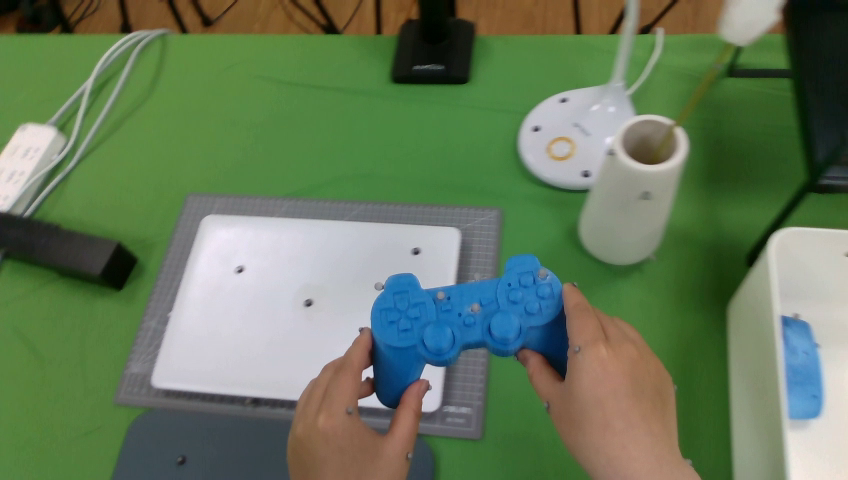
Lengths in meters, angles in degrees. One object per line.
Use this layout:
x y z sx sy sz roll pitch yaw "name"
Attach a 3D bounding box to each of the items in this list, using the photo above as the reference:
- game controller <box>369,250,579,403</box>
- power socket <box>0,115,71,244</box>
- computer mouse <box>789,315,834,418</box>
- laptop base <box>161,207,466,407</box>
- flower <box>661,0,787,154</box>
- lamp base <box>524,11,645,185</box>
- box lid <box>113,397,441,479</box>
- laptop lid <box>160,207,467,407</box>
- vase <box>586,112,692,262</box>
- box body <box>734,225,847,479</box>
0.033 0.061 0.450 0.155 0.052 0.096 -8 67 0 "game controller"
-0.602 -0.092 0.890 0.072 0.033 0.225 12 65 11 "power socket"
0.395 0.131 0.648 0.062 0.041 0.116 4 56 13 "computer mouse"
-0.132 0.074 0.758 0.354 0.023 0.234 4 67 9 "laptop base"
0.245 -0.099 0.605 0.038 0.364 0.043 -1 52 -12 "flower"
0.216 -0.187 0.758 0.159 0.182 0.179 37 70 22 "lamp base"
-0.177 0.314 0.648 0.371 0.015 0.261 4 64 9 "box lid"
-0.134 0.071 0.746 0.356 0.013 0.240 5 66 10 "laptop lid"
0.238 -0.055 0.677 0.098 0.202 0.097 -4 61 7 "vase"
0.438 0.190 0.549 0.253 0.162 0.361 6 64 10 "box body"
